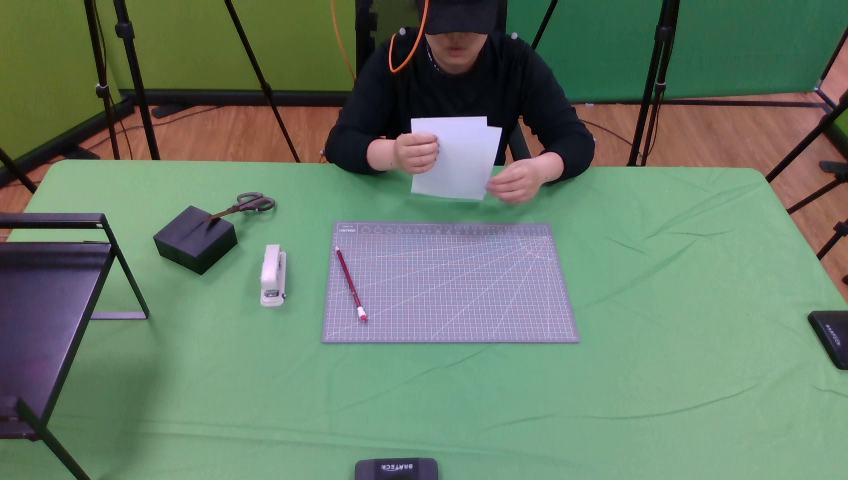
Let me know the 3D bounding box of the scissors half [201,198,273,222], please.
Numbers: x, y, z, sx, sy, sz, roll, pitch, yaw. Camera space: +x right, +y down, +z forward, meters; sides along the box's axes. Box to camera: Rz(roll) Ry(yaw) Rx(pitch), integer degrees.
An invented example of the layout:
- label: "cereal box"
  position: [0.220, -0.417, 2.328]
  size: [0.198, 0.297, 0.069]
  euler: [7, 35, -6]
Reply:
- label: "scissors half"
  position: [-0.364, -0.056, 1.192]
  size: [0.040, 0.013, 0.175]
  euler: [38, 32, 22]

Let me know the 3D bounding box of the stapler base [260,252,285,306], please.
- label: "stapler base"
  position: [-0.279, 0.064, 1.113]
  size: [0.041, 0.024, 0.129]
  euler: [-2, 44, -9]

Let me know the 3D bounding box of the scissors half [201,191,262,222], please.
- label: "scissors half"
  position: [-0.381, -0.066, 1.198]
  size: [0.040, 0.013, 0.175]
  euler: [24, 28, 10]

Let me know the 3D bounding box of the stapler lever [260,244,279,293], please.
- label: "stapler lever"
  position: [-0.279, 0.045, 1.096]
  size: [0.027, 0.040, 0.117]
  euler: [-2, 44, -9]

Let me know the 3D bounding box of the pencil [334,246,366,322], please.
- label: "pencil"
  position: [-0.140, 0.077, 1.116]
  size: [0.012, 0.012, 0.192]
  euler: [-14, 48, -17]
